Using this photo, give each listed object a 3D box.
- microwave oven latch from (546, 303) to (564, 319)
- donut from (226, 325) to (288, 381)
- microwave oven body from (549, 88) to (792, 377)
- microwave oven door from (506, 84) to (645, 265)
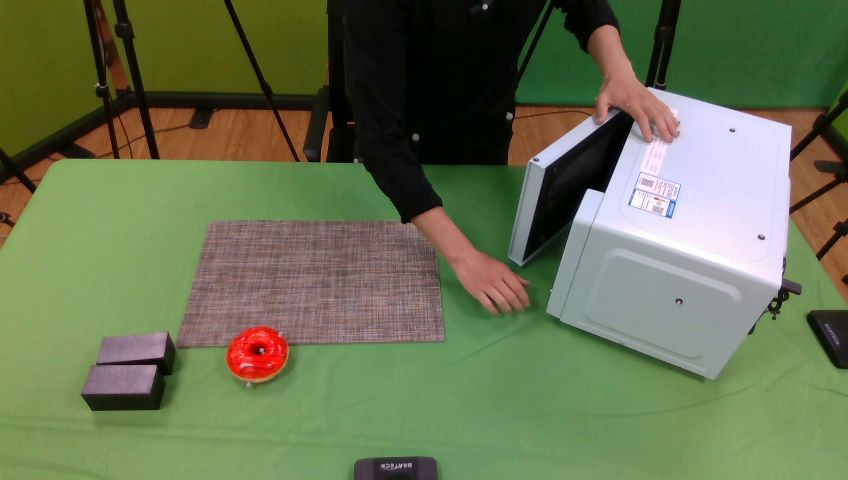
[{"bbox_3d":[0.242,0.102,1.081,0.030,0.029,0.079,22,48,17],"label":"microwave oven latch"},{"bbox_3d":[-0.270,0.182,0.984,0.099,0.048,0.098,5,49,-5],"label":"donut"},{"bbox_3d":[0.456,-0.028,1.088,0.325,0.261,0.440,20,47,16],"label":"microwave oven body"},{"bbox_3d":[0.297,-0.130,1.169,0.039,0.245,0.355,36,54,26],"label":"microwave oven door"}]
